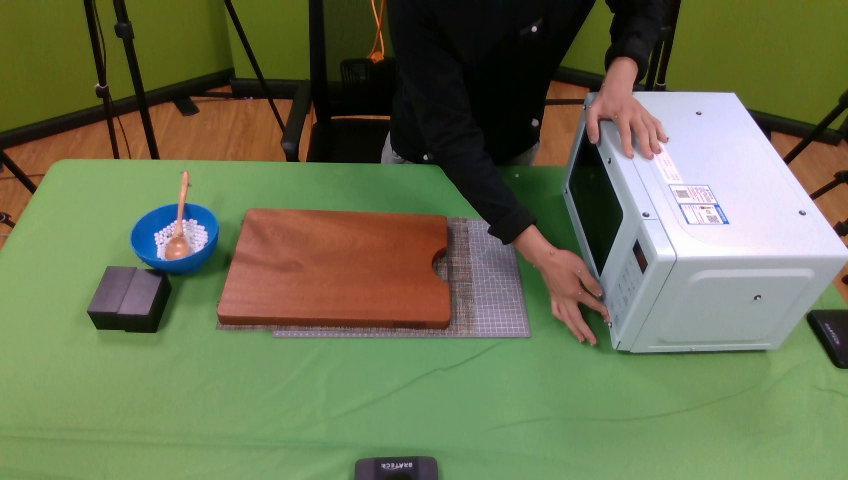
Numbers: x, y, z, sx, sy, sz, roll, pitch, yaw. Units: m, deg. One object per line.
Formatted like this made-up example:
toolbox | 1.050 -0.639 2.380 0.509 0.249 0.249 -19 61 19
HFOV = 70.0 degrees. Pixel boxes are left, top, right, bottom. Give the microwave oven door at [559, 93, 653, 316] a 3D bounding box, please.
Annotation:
microwave oven door | 0.327 -0.074 1.123 0.039 0.245 0.353 -1 46 -4

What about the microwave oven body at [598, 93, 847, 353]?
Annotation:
microwave oven body | 0.476 -0.041 1.110 0.326 0.261 0.438 -1 45 -4

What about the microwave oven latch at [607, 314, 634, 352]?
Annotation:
microwave oven latch | 0.336 0.154 1.043 0.030 0.029 0.078 4 45 1

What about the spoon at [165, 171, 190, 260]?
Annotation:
spoon | -0.451 -0.046 1.128 0.041 0.022 0.193 -1 69 -1

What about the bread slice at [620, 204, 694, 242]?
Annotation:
bread slice | 0.464 -0.038 1.203 0.131 0.019 0.104 -6 35 8

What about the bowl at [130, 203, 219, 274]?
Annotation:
bowl | -0.450 0.010 1.116 0.151 0.077 0.150 3 45 -3

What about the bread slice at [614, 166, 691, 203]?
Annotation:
bread slice | 0.438 -0.106 1.153 0.135 0.018 0.106 -3 41 -26

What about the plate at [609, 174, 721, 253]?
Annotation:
plate | 0.466 -0.048 1.187 0.208 0.039 0.206 -1 47 1

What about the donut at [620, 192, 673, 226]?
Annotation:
donut | 0.431 -0.060 1.175 0.099 0.048 0.098 -7 26 4
